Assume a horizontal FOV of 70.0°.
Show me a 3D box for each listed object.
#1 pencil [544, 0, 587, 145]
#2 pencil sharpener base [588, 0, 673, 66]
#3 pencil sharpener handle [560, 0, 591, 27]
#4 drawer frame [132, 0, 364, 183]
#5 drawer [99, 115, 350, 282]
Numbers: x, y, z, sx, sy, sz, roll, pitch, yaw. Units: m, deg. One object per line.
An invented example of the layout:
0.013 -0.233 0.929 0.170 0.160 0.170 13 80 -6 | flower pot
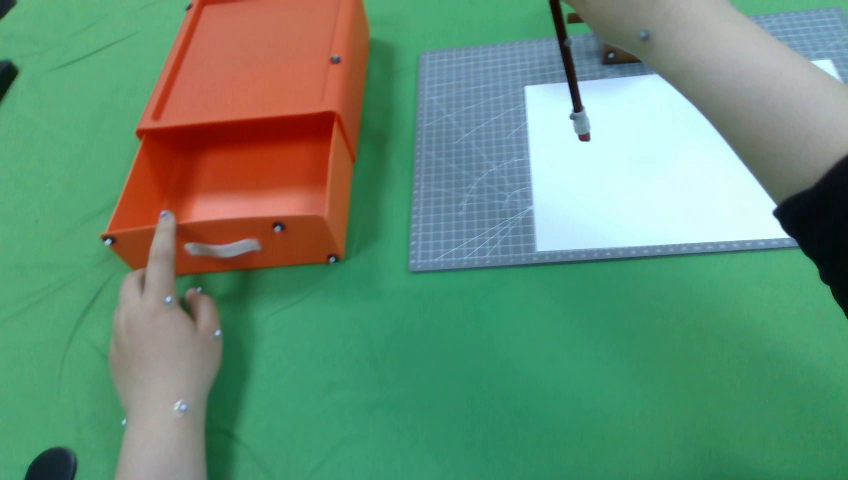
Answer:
0.086 -0.136 0.394 0.012 0.196 0.012 -14 46 15 | pencil
0.203 -0.235 0.608 0.076 0.108 0.061 -3 55 9 | pencil sharpener base
0.151 -0.241 0.607 0.030 0.068 0.035 -3 60 10 | pencil sharpener handle
-0.174 -0.166 0.646 0.201 0.083 0.211 -5 53 7 | drawer frame
-0.173 -0.069 0.580 0.194 0.074 0.209 -6 53 7 | drawer
